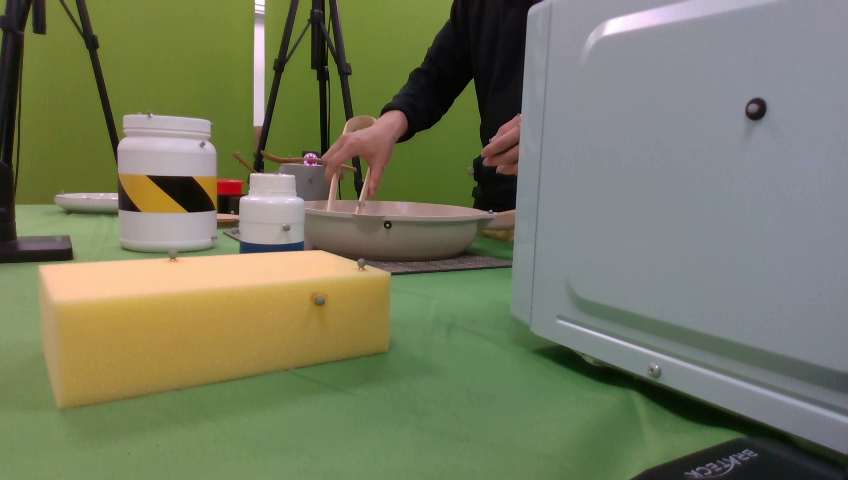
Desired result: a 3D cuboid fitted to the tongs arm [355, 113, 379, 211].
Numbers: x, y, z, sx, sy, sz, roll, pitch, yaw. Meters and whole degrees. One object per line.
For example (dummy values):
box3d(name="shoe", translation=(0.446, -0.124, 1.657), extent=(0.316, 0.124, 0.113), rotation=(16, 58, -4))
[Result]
box3d(name="tongs arm", translation=(-0.112, -0.121, 1.033), extent=(0.051, 0.026, 0.384), rotation=(0, 38, 6))

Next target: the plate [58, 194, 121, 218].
box3d(name="plate", translation=(-0.671, -0.074, 1.310), extent=(0.209, 0.038, 0.209), rotation=(2, 8, 0))

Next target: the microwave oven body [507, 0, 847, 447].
box3d(name="microwave oven body", translation=(0.331, -0.042, 0.425), extent=(0.444, 0.260, 0.324), rotation=(-2, 8, -31))

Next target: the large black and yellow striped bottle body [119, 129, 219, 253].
box3d(name="large black and yellow striped bottle body", translation=(-0.367, -0.080, 0.876), extent=(0.131, 0.184, 0.130), rotation=(1, 7, 0))

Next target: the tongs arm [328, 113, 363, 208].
box3d(name="tongs arm", translation=(-0.137, -0.120, 1.034), extent=(0.028, 0.028, 0.386), rotation=(-5, 37, 5))

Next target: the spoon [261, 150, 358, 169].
box3d(name="spoon", translation=(-0.229, -0.162, 1.222), extent=(0.194, 0.021, 0.041), rotation=(3, -1, -17))

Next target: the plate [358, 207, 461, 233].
box3d(name="plate", translation=(-0.030, -0.041, 1.213), extent=(0.208, 0.039, 0.207), rotation=(3, 7, 0))

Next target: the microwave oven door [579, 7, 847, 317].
box3d(name="microwave oven door", translation=(0.294, -0.067, 0.570), extent=(0.358, 0.243, 0.039), rotation=(-3, 9, -31))

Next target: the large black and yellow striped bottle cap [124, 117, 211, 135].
box3d(name="large black and yellow striped bottle cap", translation=(-0.366, -0.163, 0.866), extent=(0.115, 0.019, 0.115), rotation=(3, 7, 0))

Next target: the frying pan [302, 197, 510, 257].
box3d(name="frying pan", translation=(0.051, -0.035, 0.915), extent=(0.487, 0.102, 0.307), rotation=(-5, 7, 11))

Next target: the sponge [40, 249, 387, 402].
box3d(name="sponge", translation=(-0.142, 0.047, 0.420), extent=(0.208, 0.061, 0.117), rotation=(-2, 8, -36))

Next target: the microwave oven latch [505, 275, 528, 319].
box3d(name="microwave oven latch", translation=(0.100, 0.041, 0.471), extent=(0.079, 0.029, 0.030), rotation=(-1, 7, -28))

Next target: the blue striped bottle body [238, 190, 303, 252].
box3d(name="blue striped bottle body", translation=(-0.153, -0.007, 0.606), extent=(0.063, 0.120, 0.063), rotation=(2, 8, 0))

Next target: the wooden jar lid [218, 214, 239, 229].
box3d(name="wooden jar lid", translation=(-0.404, -0.037, 1.169), extent=(0.108, 0.020, 0.108), rotation=(3, 7, 0))

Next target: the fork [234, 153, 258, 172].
box3d(name="fork", translation=(-0.396, -0.143, 1.486), extent=(0.028, 0.018, 0.208), rotation=(20, -26, 45))

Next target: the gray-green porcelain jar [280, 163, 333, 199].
box3d(name="gray-green porcelain jar", translation=(-0.238, -0.092, 1.221), extent=(0.106, 0.126, 0.106), rotation=(2, 7, 0))

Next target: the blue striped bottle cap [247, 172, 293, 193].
box3d(name="blue striped bottle cap", translation=(-0.152, -0.057, 0.598), extent=(0.044, 0.020, 0.044), rotation=(3, 6, 0))
